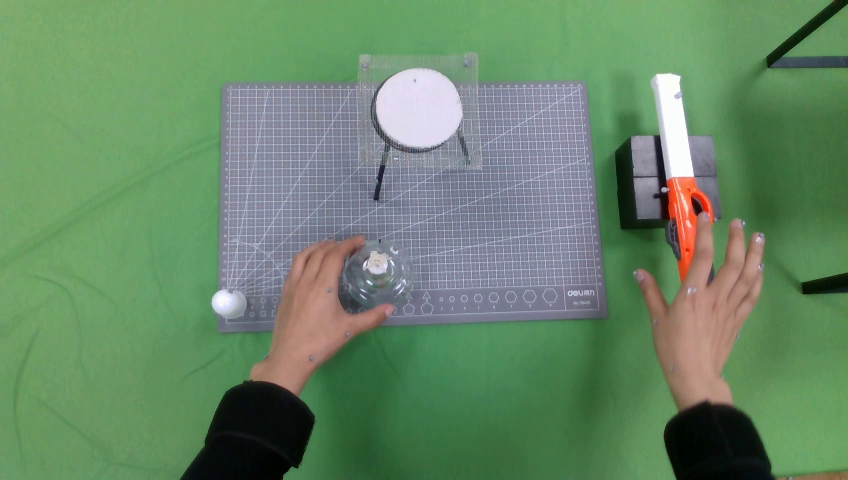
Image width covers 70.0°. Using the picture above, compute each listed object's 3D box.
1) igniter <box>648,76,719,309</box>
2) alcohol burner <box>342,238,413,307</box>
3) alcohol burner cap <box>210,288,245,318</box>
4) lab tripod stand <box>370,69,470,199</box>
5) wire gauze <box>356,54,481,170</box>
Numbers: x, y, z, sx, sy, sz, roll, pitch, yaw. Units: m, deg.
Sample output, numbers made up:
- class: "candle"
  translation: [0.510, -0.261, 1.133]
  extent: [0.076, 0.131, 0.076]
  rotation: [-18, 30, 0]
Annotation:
- class: "igniter"
  translation: [0.293, -0.058, 0.691]
  extent: [0.057, 0.025, 0.275]
  rotation: [-2, 77, -8]
- class: "alcohol burner"
  translation: [-0.050, 0.033, 0.649]
  extent: [0.078, 0.119, 0.077]
  rotation: [1, 80, -3]
- class: "alcohol burner cap"
  translation: [-0.218, 0.067, 0.666]
  extent: [0.034, 0.048, 0.033]
  rotation: [1, 77, -5]
- class: "lab tripod stand"
  translation: [-0.016, -0.121, 0.671]
  extent: [0.148, 0.132, 0.147]
  rotation: [0, 78, -2]
- class: "wire gauze"
  translation: [-0.005, -0.130, 0.604]
  extent: [0.125, 0.011, 0.121]
  rotation: [1, 79, -3]
